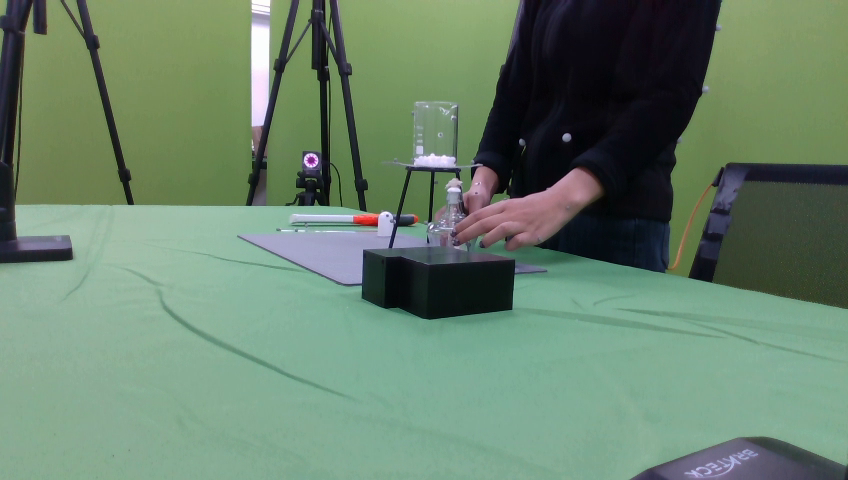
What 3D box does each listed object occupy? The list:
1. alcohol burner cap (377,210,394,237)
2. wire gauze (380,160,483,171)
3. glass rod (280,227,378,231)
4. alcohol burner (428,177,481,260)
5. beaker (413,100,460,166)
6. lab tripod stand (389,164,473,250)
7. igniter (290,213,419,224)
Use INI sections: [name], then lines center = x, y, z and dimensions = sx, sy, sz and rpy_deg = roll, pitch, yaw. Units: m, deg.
[alcohol burner cap]
center = -0.069, -0.031, 1.113
dimensions = 0.034, 0.048, 0.034
rpy_deg = 3, 9, 0
[wire gauze]
center = 0.011, -0.119, 0.951
dimensions = 0.122, 0.011, 0.124
rpy_deg = -5, 12, -32
[glass rod]
center = -0.175, -0.021, 1.161
dimensions = 0.200, 0.008, 0.008
rpy_deg = 1, 7, -15
[alcohol burner]
center = 0.044, -0.031, 0.874
dimensions = 0.078, 0.119, 0.078
rpy_deg = 0, 9, 0
[beaker]
center = 0.020, -0.167, 0.953
dimensions = 0.073, 0.100, 0.084
rpy_deg = 6, 9, 26
[lab tripod stand]
center = 0.011, -0.054, 0.960
dimensions = 0.148, 0.131, 0.148
rpy_deg = 2, 9, 0
[igniter]
center = -0.143, -0.046, 1.288
dimensions = 0.278, 0.025, 0.057
rpy_deg = -1, -3, -24
